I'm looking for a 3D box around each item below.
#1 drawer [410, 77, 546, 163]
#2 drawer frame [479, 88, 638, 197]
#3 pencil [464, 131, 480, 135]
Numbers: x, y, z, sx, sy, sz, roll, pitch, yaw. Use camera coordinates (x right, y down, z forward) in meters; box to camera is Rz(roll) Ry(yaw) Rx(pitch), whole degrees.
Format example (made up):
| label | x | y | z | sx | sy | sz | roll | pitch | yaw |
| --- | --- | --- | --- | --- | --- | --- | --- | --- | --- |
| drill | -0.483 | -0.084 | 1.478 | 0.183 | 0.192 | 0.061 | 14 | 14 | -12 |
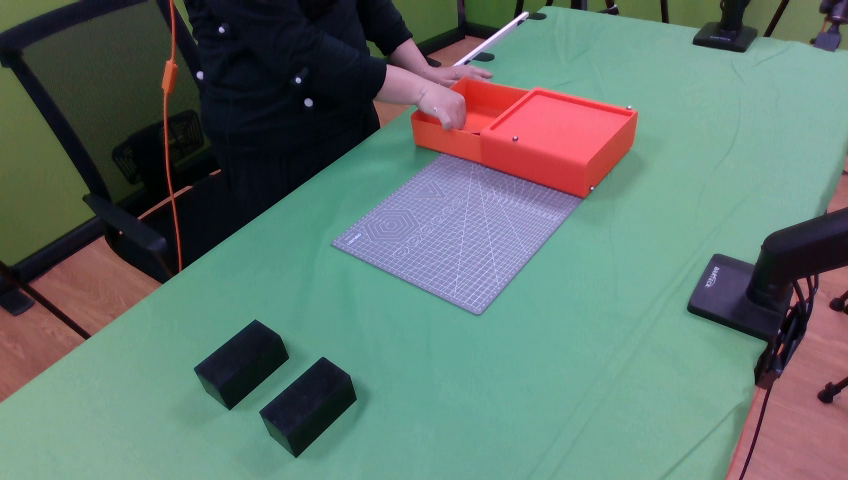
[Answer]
| label | x | y | z | sx | sy | sz | roll | pitch | yaw |
| --- | --- | --- | --- | --- | --- | --- | --- | --- | --- |
| drawer | 0.114 | -0.235 | 1.187 | 0.210 | 0.073 | 0.195 | 21 | 46 | 32 |
| drawer frame | 0.243 | -0.184 | 1.100 | 0.212 | 0.083 | 0.202 | 23 | 48 | 30 |
| pencil | 0.128 | -0.211 | 1.189 | 0.194 | 0.012 | 0.012 | 0 | 41 | 8 |
